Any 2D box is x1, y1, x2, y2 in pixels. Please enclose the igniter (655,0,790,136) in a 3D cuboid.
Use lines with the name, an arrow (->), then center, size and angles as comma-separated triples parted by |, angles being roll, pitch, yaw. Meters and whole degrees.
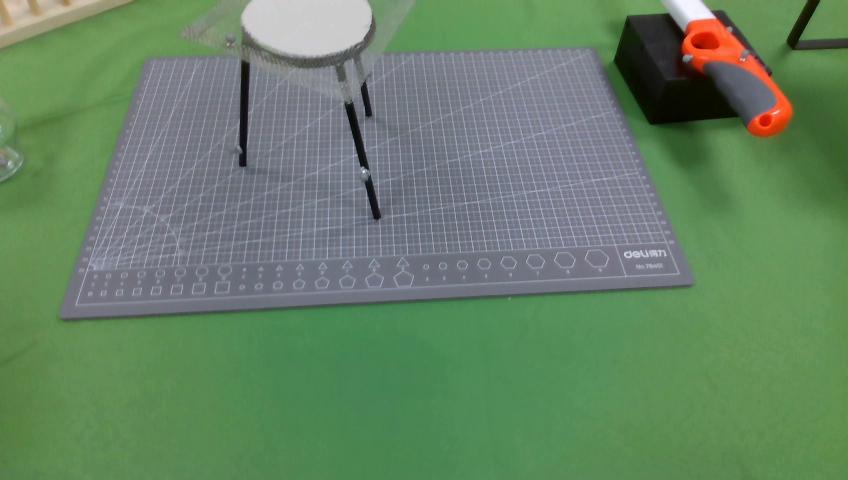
igniter -> 0.250, -0.187, 0.546 | 0.057, 0.025, 0.273 | -7, 50, -4

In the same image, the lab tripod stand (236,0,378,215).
lab tripod stand -> -0.077, -0.106, 0.458 | 0.148, 0.132, 0.147 | 2, 52, -3

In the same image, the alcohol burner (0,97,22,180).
alcohol burner -> -0.361, -0.097, 0.455 | 0.078, 0.120, 0.077 | 0, 54, 0

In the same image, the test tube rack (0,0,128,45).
test tube rack -> -0.374, -0.283, 0.618 | 0.242, 0.086, 0.066 | -34, 61, -25

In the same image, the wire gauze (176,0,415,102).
wire gauze -> -0.079, -0.148, 0.405 | 0.124, 0.011, 0.121 | 20, 54, 11
